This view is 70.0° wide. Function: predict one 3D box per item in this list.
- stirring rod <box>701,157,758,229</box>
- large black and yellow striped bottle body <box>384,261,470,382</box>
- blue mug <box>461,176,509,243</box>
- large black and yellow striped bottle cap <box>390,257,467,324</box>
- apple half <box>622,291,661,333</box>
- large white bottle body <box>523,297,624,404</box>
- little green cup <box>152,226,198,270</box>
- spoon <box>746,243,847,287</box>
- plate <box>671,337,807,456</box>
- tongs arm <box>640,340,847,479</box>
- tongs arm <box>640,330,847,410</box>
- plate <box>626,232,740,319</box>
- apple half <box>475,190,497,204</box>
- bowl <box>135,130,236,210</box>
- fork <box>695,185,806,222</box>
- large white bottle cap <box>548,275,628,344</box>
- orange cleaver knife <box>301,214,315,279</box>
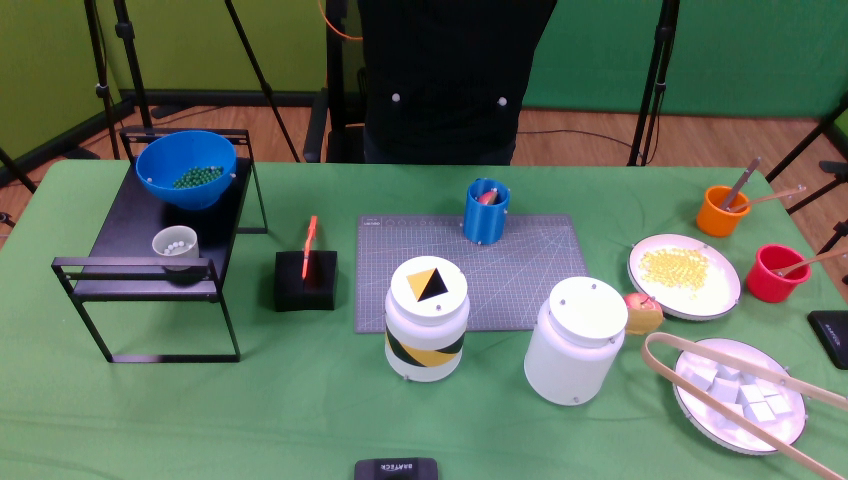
[{"bbox_3d":[0.634,-0.097,1.257,0.014,0.006,0.176,38,98,30],"label":"stirring rod"},{"bbox_3d":[0.002,0.127,0.962,0.131,0.185,0.130,2,48,-2],"label":"large black and yellow striped bottle body"},{"bbox_3d":[0.116,-0.070,1.211,0.082,0.106,0.115,-8,47,-12],"label":"blue mug"},{"bbox_3d":[0.007,0.072,0.899,0.115,0.019,0.114,2,47,-2],"label":"large black and yellow striped bottle cap"},{"bbox_3d":[0.372,0.124,1.073,0.081,0.075,0.053,0,42,1],"label":"apple half"},{"bbox_3d":[0.235,0.159,0.952,0.131,0.185,0.130,2,47,-2],"label":"large white bottle body"},{"bbox_3d":[-0.364,0.013,0.894,0.061,0.039,0.061,3,46,-3],"label":"little green cup"},{"bbox_3d":[0.702,0.043,1.126,0.194,0.022,0.041,-29,38,30],"label":"spoon"},{"bbox_3d":[0.504,0.254,0.984,0.208,0.039,0.206,2,46,-2],"label":"plate"},{"bbox_3d":[0.500,0.277,0.919,0.386,0.028,0.028,34,59,22],"label":"tongs arm"},{"bbox_3d":[0.543,0.225,0.969,0.384,0.026,0.050,22,52,13],"label":"tongs arm"},{"bbox_3d":[0.488,0.071,1.157,0.209,0.038,0.208,3,46,-3],"label":"plate"},{"bbox_3d":[0.111,-0.067,1.200,0.032,0.081,0.081,31,51,14],"label":"apple half"},{"bbox_3d":[-0.375,-0.102,0.978,0.151,0.077,0.150,3,46,-2],"label":"bowl"},{"bbox_3d":[0.658,-0.074,1.230,0.207,0.019,0.028,-23,36,37],"label":"fork"},{"bbox_3d":[0.240,0.100,0.890,0.115,0.018,0.114,3,47,-3],"label":"large white bottle cap"},{"bbox_3d":[-0.218,0.008,1.131,0.012,0.077,0.210,7,19,-9],"label":"orange cleaver knife"}]
